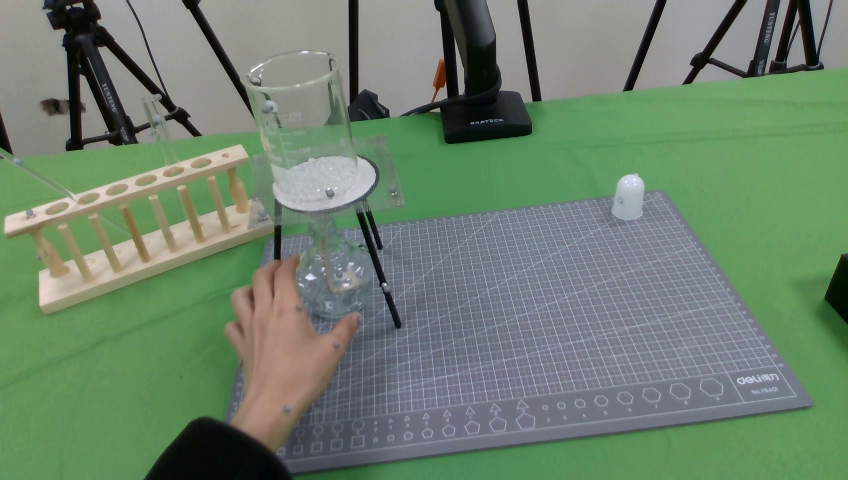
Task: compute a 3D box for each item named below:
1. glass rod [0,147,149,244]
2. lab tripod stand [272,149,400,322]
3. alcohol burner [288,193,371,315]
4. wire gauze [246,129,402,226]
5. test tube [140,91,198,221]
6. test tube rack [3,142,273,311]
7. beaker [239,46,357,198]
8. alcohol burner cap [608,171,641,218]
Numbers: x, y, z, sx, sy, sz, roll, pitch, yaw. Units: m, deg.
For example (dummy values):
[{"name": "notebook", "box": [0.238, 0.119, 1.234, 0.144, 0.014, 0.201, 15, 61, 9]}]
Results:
[{"name": "glass rod", "box": [-0.359, -0.048, 0.602, 0.008, 0.202, 0.008, -21, 47, 25]}, {"name": "lab tripod stand", "box": [-0.080, -0.003, 0.551, 0.148, 0.133, 0.147, -4, 40, 4]}, {"name": "alcohol burner", "box": [-0.089, 0.010, 0.552, 0.078, 0.120, 0.077, -4, 36, 4]}, {"name": "wire gauze", "box": [-0.087, -0.054, 0.510, 0.125, 0.011, 0.120, -13, 36, -3]}, {"name": "test tube", "box": [-0.270, -0.085, 0.646, 0.017, 0.151, 0.017, -3, 35, 3]}, {"name": "test tube rack", "box": [-0.296, -0.020, 0.648, 0.243, 0.086, 0.066, -22, 40, -19]}, {"name": "beaker", "box": [-0.097, -0.091, 0.479, 0.083, 0.101, 0.073, 13, 42, 25]}, {"name": "alcohol burner cap", "box": [0.215, -0.051, 0.644, 0.034, 0.048, 0.033, -4, 38, 3]}]
